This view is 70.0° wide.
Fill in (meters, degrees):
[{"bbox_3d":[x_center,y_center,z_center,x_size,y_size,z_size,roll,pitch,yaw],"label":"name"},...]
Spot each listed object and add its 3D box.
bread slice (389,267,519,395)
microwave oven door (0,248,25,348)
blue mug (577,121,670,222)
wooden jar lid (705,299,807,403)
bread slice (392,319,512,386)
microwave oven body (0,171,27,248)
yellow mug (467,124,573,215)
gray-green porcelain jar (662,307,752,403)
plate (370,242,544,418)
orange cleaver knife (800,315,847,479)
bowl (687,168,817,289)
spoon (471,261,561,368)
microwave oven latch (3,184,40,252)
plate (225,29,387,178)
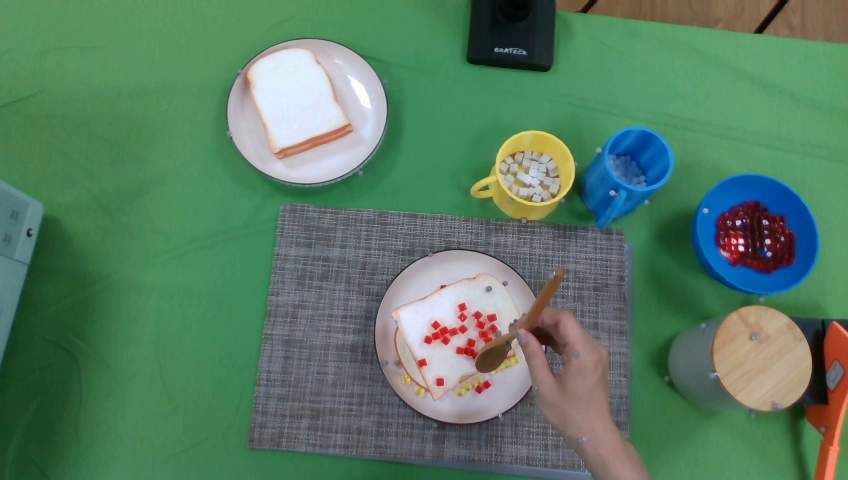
[{"bbox_3d":[0.038,0.091,0.675,0.134,0.018,0.107,-28,87,-16],"label":"bread slice"},{"bbox_3d":[-0.512,0.159,0.575,0.039,0.245,0.354,7,76,0],"label":"microwave oven door"},{"bbox_3d":[0.240,-0.075,0.756,0.082,0.106,0.116,26,77,5],"label":"blue mug"},{"bbox_3d":[0.346,0.117,0.638,0.108,0.021,0.108,1,79,-4],"label":"wooden jar lid"},{"bbox_3d":[0.029,0.116,0.734,0.131,0.019,0.104,-26,77,-12],"label":"bread slice"},{"bbox_3d":[-0.652,0.101,0.587,0.326,0.261,0.439,7,77,-1],"label":"microwave oven body"},{"bbox_3d":[0.119,-0.084,0.772,0.131,0.064,0.099,-15,77,-5],"label":"yellow mug"},{"bbox_3d":[0.345,0.133,0.699,0.106,0.127,0.105,1,76,-2],"label":"gray-green porcelain jar"},{"bbox_3d":[0.039,0.107,0.733,0.209,0.038,0.208,1,76,-2],"label":"plate"},{"bbox_3d":[0.467,0.195,0.711,0.012,0.077,0.212,4,102,-1],"label":"orange cleaver knife"},{"bbox_3d":[0.393,-0.007,0.759,0.151,0.077,0.150,1,76,-2],"label":"bowl"},{"bbox_3d":[0.091,0.078,0.593,0.042,0.194,0.021,-5,59,-24],"label":"spoon"},{"bbox_3d":[-0.488,-0.027,0.725,0.030,0.029,0.079,10,77,0],"label":"microwave oven latch"},{"bbox_3d":[-0.152,-0.176,0.797,0.208,0.039,0.206,1,76,-2],"label":"plate"}]
